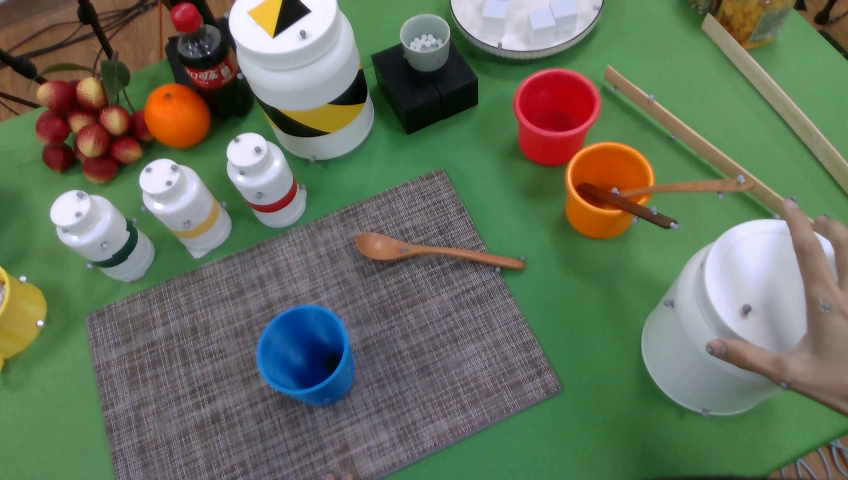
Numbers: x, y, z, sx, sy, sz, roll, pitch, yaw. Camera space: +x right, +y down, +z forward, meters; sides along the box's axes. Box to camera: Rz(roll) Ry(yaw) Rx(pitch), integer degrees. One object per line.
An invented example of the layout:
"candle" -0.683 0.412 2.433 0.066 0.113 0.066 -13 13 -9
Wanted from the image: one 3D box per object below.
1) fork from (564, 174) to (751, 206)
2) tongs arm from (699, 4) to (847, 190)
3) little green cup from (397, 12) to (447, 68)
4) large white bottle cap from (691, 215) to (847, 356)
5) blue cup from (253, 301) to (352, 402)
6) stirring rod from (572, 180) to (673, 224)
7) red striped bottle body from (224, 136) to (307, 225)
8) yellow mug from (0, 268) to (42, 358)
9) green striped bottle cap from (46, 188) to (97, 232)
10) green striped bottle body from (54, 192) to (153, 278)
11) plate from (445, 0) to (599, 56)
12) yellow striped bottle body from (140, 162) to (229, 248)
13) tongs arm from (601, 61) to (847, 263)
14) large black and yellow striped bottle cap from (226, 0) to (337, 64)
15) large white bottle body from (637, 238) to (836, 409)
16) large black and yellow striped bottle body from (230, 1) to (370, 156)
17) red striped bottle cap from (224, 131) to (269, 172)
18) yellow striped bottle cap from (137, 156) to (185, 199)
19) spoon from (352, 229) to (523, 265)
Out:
"fork" 0.230 -0.054 0.627 0.206 0.019 0.028 -3 53 54
"tongs arm" 0.434 -0.141 0.714 0.028 0.028 0.384 -19 65 -10
"little green cup" -0.002 -0.244 0.744 0.061 0.039 0.061 -2 62 4
"large white bottle cap" 0.268 0.033 0.467 0.115 0.018 0.114 -2 63 5
"blue cup" -0.110 0.118 0.597 0.092 0.101 0.092 -2 63 3
"stirring rod" 0.201 -0.042 0.632 0.014 0.006 0.174 -21 21 -8
"red striped bottle body" -0.182 -0.071 0.688 0.063 0.121 0.062 -4 63 8
"yellow mug" -0.490 0.091 0.667 0.100 0.064 0.129 -14 64 -3
"green striped bottle cap" -0.365 -0.031 0.626 0.044 0.020 0.044 -2 63 4
"green striped bottle body" -0.359 -0.009 0.673 0.063 0.120 0.062 -2 64 4
"plate" 0.132 -0.329 0.829 0.209 0.038 0.207 -2 65 4
"yellow striped bottle body" -0.272 -0.043 0.682 0.063 0.121 0.062 -2 64 5
"tongs arm" 0.359 -0.097 0.699 0.051 0.027 0.381 -35 67 -14
"large black and yellow striped bottle cap" -0.149 -0.234 0.634 0.115 0.019 0.114 -2 64 5
"large white bottle body" 0.277 0.071 0.543 0.130 0.186 0.129 -2 64 4
"large black and yellow striped bottle body" -0.142 -0.199 0.710 0.131 0.185 0.129 -2 64 4
"red striped bottle cap" -0.188 -0.094 0.641 0.044 0.018 0.044 -1 61 1
"yellow striped bottle cap" -0.276 -0.066 0.635 0.044 0.019 0.044 -1 65 3
"spoon" 0.015 0.011 0.681 0.193 0.022 0.041 5 40 7
